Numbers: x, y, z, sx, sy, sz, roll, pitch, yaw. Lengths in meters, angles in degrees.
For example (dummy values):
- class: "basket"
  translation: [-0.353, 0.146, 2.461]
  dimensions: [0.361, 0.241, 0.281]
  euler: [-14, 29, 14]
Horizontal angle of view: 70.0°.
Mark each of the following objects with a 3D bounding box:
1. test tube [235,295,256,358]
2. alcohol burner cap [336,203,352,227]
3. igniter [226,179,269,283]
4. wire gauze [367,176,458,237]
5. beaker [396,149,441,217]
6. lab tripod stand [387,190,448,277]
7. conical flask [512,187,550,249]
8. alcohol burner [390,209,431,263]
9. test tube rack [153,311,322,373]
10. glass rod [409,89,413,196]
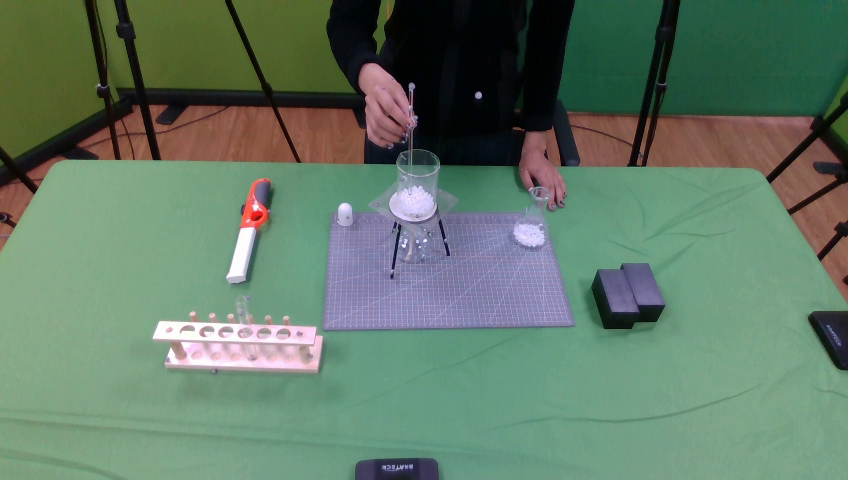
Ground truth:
- class: "test tube"
  translation: [-0.274, 0.136, 0.933]
  dimensions: [0.017, 0.151, 0.017]
  euler: [4, 46, -4]
- class: "alcohol burner cap"
  translation: [-0.162, -0.053, 1.221]
  dimensions: [0.034, 0.048, 0.033]
  euler: [2, 47, -2]
- class: "igniter"
  translation: [-0.345, -0.027, 1.195]
  dimensions: [0.057, 0.025, 0.274]
  euler: [-6, 46, 5]
- class: "wire gauze"
  translation: [-0.020, -0.066, 1.089]
  dimensions: [0.124, 0.011, 0.121]
  euler: [27, 47, 22]
- class: "beaker"
  translation: [-0.015, -0.098, 1.054]
  dimensions: [0.074, 0.101, 0.083]
  euler: [-32, 55, -31]
- class: "lab tripod stand"
  translation: [-0.021, -0.018, 1.135]
  dimensions: [0.148, 0.132, 0.147]
  euler: [3, 44, -3]
- class: "conical flask"
  translation: [0.217, -0.048, 1.190]
  dimensions: [0.075, 0.122, 0.075]
  euler: [2, 46, -2]
- class: "alcohol burner"
  translation: [-0.024, -0.014, 1.144]
  dimensions: [0.078, 0.119, 0.077]
  euler: [4, 45, -3]
- class: "test tube rack"
  translation: [-0.293, 0.160, 0.978]
  dimensions: [0.242, 0.085, 0.066]
  euler: [3, 46, -2]
- class: "glass rod"
  translation: [-0.021, -0.151, 0.975]
  dimensions: [0.008, 0.201, 0.008]
  euler: [1, 41, 0]
